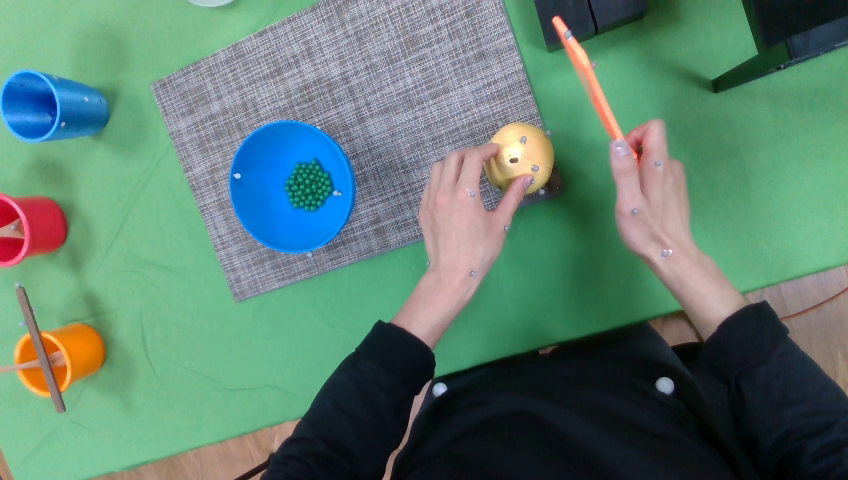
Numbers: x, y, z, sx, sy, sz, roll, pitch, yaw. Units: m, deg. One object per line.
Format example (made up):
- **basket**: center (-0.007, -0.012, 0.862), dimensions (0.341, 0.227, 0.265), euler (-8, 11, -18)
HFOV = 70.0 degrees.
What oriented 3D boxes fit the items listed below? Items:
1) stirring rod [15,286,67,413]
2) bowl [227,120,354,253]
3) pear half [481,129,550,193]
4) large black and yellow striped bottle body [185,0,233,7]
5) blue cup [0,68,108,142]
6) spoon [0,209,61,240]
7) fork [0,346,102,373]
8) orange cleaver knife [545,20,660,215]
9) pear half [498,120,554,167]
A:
- **stirring rod**: center (-0.506, 0.145, 0.800), dimensions (0.014, 0.006, 0.176), euler (-14, 96, 12)
- **bowl**: center (-0.144, -0.064, 0.716), dimensions (0.151, 0.077, 0.151), euler (2, 100, 13)
- **pear half**: center (0.091, -0.078, 0.643), dimensions (0.076, 0.110, 0.056), euler (33, 105, 11)
- **large black and yellow striped bottle body**: center (-0.279, -0.338, 0.652), dimensions (0.130, 0.184, 0.131), euler (2, 99, 13)
- **blue cup**: center (-0.459, -0.166, 0.764), dimensions (0.092, 0.100, 0.093), euler (2, 100, 11)
- **spoon**: center (-0.590, -0.004, 0.800), dimensions (0.194, 0.021, 0.042), euler (-16, 98, -28)
- **fork**: center (-0.551, 0.169, 0.815), dimensions (0.208, 0.018, 0.028), euler (-5, 111, -30)
- **orange cleaver knife**: center (0.166, -0.108, 0.557), dimensions (0.012, 0.076, 0.213), euler (-33, 123, 12)
- **pear half**: center (0.113, -0.108, 0.642), dimensions (0.070, 0.088, 0.031), euler (32, 106, 10)
